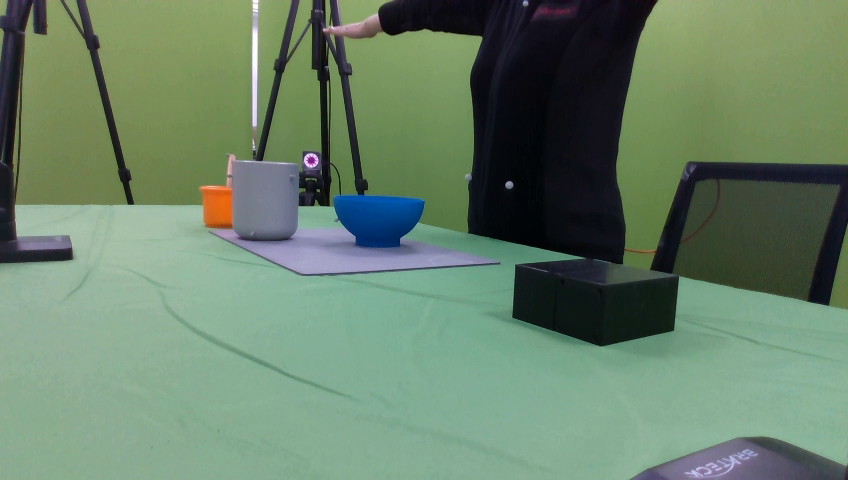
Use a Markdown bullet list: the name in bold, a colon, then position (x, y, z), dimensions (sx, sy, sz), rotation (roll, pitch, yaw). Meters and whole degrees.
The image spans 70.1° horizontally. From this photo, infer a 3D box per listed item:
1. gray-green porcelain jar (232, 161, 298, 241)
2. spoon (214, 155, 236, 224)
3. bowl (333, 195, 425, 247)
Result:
- **gray-green porcelain jar**: position (-0.262, -0.065, 0.999), dimensions (0.106, 0.126, 0.106), rotation (3, 7, 0)
- **spoon**: position (-0.385, -0.104, 1.194), dimensions (0.042, 0.193, 0.021), rotation (2, -37, -12)
- **bowl**: position (-0.074, -0.031, 0.987), dimensions (0.151, 0.077, 0.151), rotation (2, 7, 0)
